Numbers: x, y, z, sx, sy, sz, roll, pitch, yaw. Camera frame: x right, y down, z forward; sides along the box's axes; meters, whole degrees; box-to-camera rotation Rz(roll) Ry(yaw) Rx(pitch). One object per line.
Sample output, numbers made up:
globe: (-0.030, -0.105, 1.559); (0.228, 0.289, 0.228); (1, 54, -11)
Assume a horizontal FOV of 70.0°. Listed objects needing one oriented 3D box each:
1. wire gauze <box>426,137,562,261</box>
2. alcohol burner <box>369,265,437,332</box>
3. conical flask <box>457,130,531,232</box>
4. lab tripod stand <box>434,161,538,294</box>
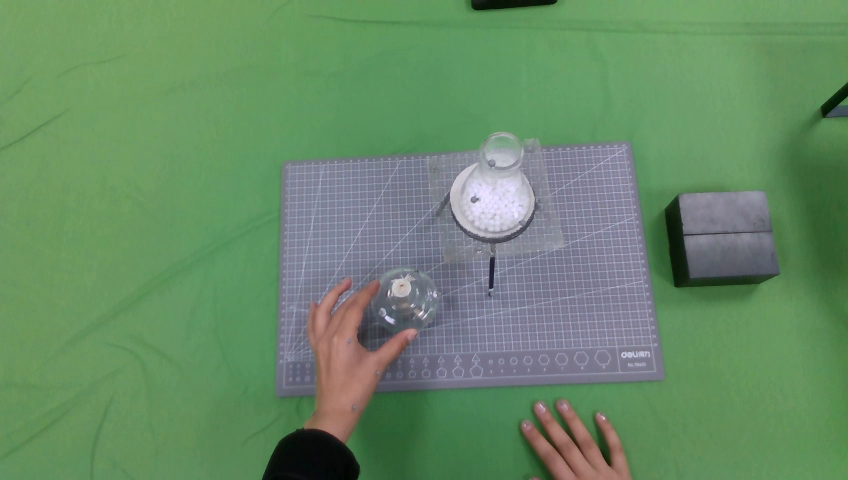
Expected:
wire gauze: (0.070, -0.042, 0.622); (0.125, 0.011, 0.121); (-8, 76, -3)
alcohol burner: (-0.024, 0.062, 0.675); (0.078, 0.120, 0.077); (0, 74, 2)
conical flask: (0.068, -0.059, 0.565); (0.075, 0.122, 0.075); (-1, 73, 3)
lab tripod stand: (0.076, -0.026, 0.685); (0.148, 0.132, 0.147); (-1, 72, 2)
